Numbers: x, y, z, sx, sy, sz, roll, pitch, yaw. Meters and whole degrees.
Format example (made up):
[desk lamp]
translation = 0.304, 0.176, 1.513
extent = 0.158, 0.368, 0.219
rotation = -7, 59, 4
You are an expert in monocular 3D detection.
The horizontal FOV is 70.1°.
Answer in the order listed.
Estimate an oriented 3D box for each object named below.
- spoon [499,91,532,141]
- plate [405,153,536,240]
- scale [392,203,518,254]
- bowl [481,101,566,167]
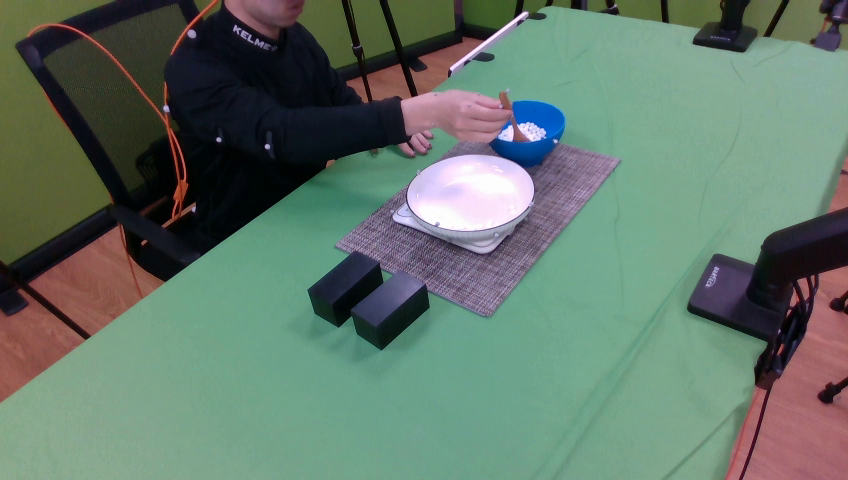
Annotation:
[spoon]
translation = 0.149, -0.193, 1.005
extent = 0.041, 0.195, 0.021
rotation = -12, 63, 17
[plate]
translation = 0.075, -0.067, 0.973
extent = 0.209, 0.038, 0.208
rotation = -4, 41, 4
[scale]
translation = 0.061, -0.050, 1.006
extent = 0.199, 0.032, 0.149
rotation = 22, 48, 30
[bowl]
translation = 0.183, -0.186, 1.111
extent = 0.151, 0.077, 0.150
rotation = -4, 40, 4
